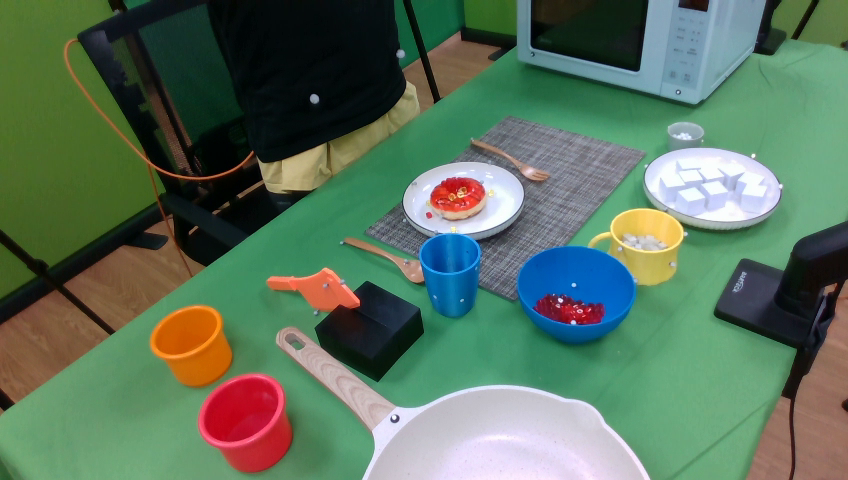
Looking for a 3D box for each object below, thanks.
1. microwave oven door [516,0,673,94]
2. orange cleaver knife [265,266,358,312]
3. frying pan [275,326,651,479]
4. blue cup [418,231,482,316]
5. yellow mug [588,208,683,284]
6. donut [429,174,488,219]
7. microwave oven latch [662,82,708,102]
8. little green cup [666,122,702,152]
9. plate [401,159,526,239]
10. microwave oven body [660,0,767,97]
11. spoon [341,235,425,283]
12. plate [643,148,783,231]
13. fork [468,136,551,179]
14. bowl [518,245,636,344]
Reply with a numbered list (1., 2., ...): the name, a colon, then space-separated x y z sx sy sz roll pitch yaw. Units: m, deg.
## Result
1. microwave oven door: 0.344 -0.458 1.257 0.353 0.245 0.039 26 52 33
2. orange cleaver knife: -0.164 0.073 0.864 0.210 0.077 0.012 -6 31 50
3. frying pan: 0.004 0.229 0.641 0.484 0.103 0.308 34 54 28
4. blue cup: 0.040 0.052 0.843 0.092 0.100 0.092 -4 43 4
5. yellow mug: 0.305 0.009 0.884 0.131 0.064 0.099 -4 41 5
6. donut: 0.058 -0.075 1.015 0.099 0.048 0.098 -6 38 5
7. microwave oven latch: 0.518 -0.298 1.203 0.078 0.029 0.030 28 53 35
8. little green cup: 0.472 -0.183 1.102 0.061 0.039 0.061 -5 41 5
9. plate: 0.067 -0.065 1.019 0.209 0.038 0.208 -4 40 4
10. microwave oven body: 0.473 -0.517 1.314 0.438 0.261 0.327 26 51 34
11. spoon: -0.061 0.023 0.953 0.192 0.022 0.041 24 71 30
12. plate: 0.465 -0.080 0.985 0.207 0.039 0.206 -4 41 4
13. fork: 0.154 -0.156 1.126 0.028 0.019 0.205 -39 51 -18
14. bowl: 0.200 0.084 0.803 0.151 0.077 0.150 -4 40 4
